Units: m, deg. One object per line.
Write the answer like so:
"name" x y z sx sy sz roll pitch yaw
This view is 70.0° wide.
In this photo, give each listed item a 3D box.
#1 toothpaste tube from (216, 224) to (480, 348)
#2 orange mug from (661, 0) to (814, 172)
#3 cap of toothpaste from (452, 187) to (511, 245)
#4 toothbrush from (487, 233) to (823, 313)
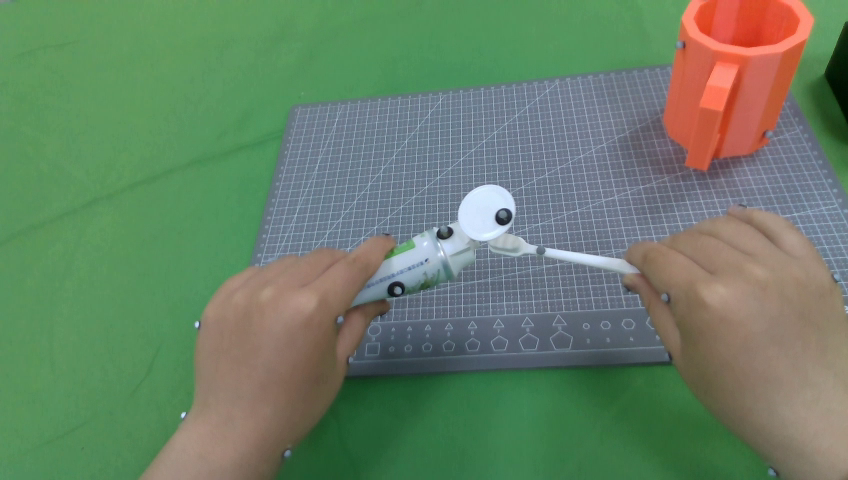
"toothpaste tube" -0.042 0.031 0.370 0.165 0.055 0.034 -23 82 1
"orange mug" 0.226 -0.114 0.456 0.083 0.102 0.126 20 53 25
"cap of toothpaste" 0.035 -0.013 0.352 0.037 0.011 0.037 -11 65 24
"toothbrush" 0.121 0.016 0.341 0.181 0.017 0.014 11 73 20
